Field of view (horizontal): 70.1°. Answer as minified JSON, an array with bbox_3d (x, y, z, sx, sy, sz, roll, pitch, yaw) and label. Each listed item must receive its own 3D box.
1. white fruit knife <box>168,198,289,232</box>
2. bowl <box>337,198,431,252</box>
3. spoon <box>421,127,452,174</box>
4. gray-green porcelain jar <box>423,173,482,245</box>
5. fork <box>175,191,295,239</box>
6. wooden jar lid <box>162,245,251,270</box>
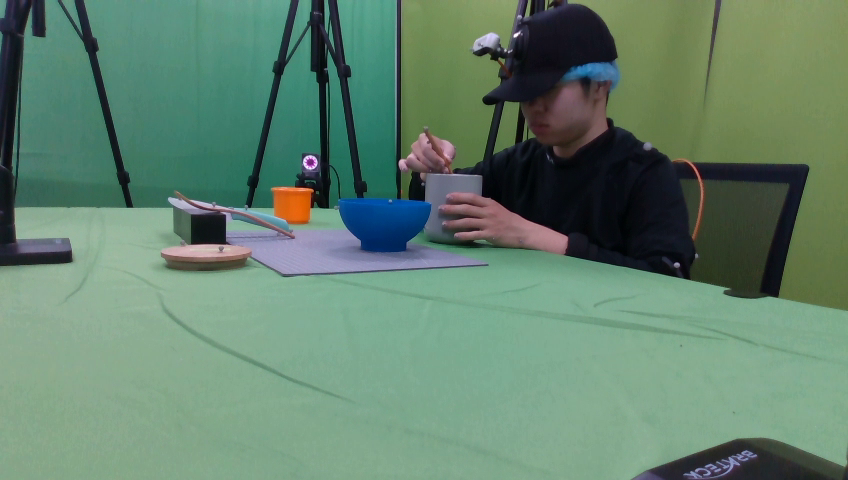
[{"bbox_3d":[-0.329,-0.044,1.036,0.208,0.027,0.016,14,-1,-32],"label":"white fruit knife"},{"bbox_3d":[-0.066,-0.024,0.967,0.151,0.077,0.151,3,7,0],"label":"bowl"},{"bbox_3d":[0.043,-0.122,1.102,0.021,0.194,0.041,-27,20,-2],"label":"spoon"},{"bbox_3d":[0.052,-0.059,1.116,0.106,0.126,0.106,3,8,0],"label":"gray-green porcelain jar"},{"bbox_3d":[-0.305,-0.039,0.993,0.208,0.018,0.028,19,-8,-34],"label":"fork"},{"bbox_3d":[-0.278,0.022,0.777,0.108,0.020,0.108,2,6,0],"label":"wooden jar lid"}]
